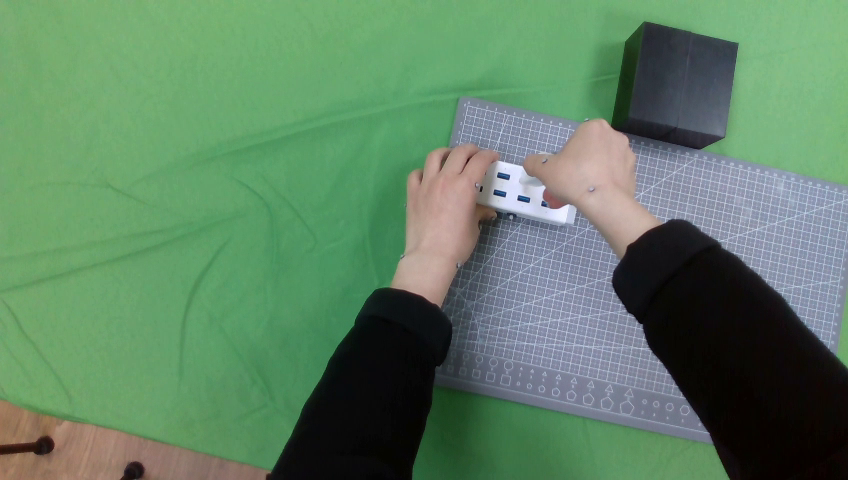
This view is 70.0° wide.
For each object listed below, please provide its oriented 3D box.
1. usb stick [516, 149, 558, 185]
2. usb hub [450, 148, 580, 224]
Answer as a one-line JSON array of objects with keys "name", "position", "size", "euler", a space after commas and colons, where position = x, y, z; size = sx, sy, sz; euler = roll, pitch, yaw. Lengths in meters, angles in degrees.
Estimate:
[{"name": "usb stick", "position": [0.106, -0.069, 0.585], "size": [0.021, 0.059, 0.027], "euler": [12, 81, -14]}, {"name": "usb hub", "position": [0.093, -0.055, 0.622], "size": [0.125, 0.025, 0.049], "euler": [14, 87, -4]}]
